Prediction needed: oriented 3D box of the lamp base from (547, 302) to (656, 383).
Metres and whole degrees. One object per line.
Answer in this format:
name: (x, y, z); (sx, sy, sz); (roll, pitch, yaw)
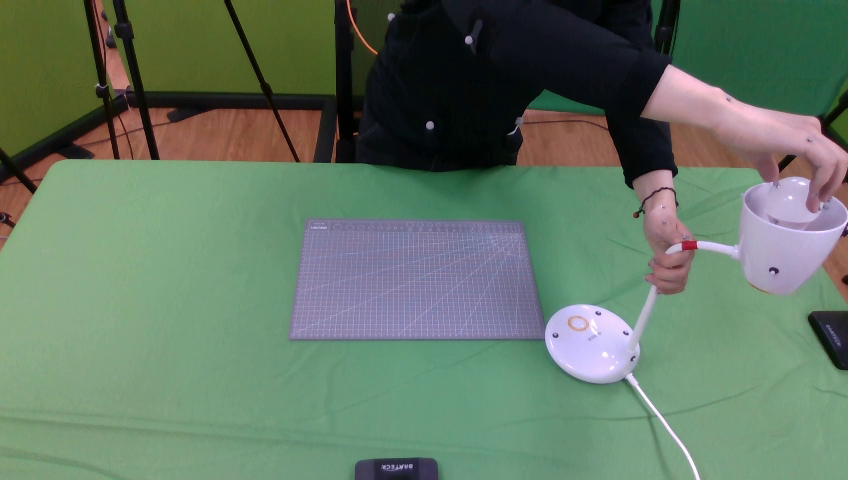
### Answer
lamp base: (0.304, 0.127, 0.982); (0.160, 0.181, 0.178); (-33, 59, -29)

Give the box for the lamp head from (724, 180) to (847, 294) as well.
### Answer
lamp head: (0.427, 0.003, 0.727); (0.112, 0.123, 0.111); (0, 39, 0)

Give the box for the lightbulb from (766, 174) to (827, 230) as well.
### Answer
lightbulb: (0.431, -0.025, 0.711); (0.059, 0.108, 0.059); (-4, 31, 2)
